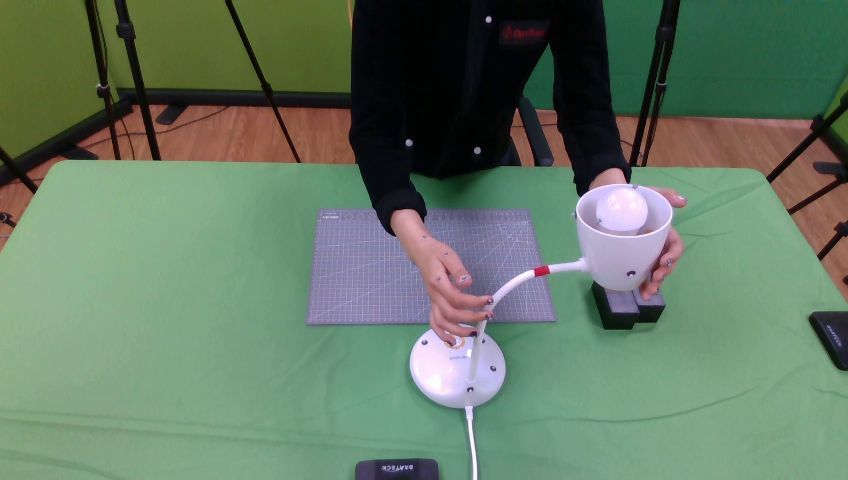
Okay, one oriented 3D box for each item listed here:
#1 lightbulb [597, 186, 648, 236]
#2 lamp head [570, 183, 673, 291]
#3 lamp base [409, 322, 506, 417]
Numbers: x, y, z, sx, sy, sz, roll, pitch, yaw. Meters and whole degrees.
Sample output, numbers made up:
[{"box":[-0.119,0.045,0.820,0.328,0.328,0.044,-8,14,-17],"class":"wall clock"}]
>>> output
[{"box":[0.247,-0.016,0.757,0.059,0.108,0.059,-8,33,5],"class":"lightbulb"},{"box":[0.245,0.006,0.768,0.112,0.123,0.112,-1,38,1],"class":"lamp head"},{"box":[0.064,0.160,0.940,0.161,0.181,0.178,-10,51,-14],"class":"lamp base"}]
